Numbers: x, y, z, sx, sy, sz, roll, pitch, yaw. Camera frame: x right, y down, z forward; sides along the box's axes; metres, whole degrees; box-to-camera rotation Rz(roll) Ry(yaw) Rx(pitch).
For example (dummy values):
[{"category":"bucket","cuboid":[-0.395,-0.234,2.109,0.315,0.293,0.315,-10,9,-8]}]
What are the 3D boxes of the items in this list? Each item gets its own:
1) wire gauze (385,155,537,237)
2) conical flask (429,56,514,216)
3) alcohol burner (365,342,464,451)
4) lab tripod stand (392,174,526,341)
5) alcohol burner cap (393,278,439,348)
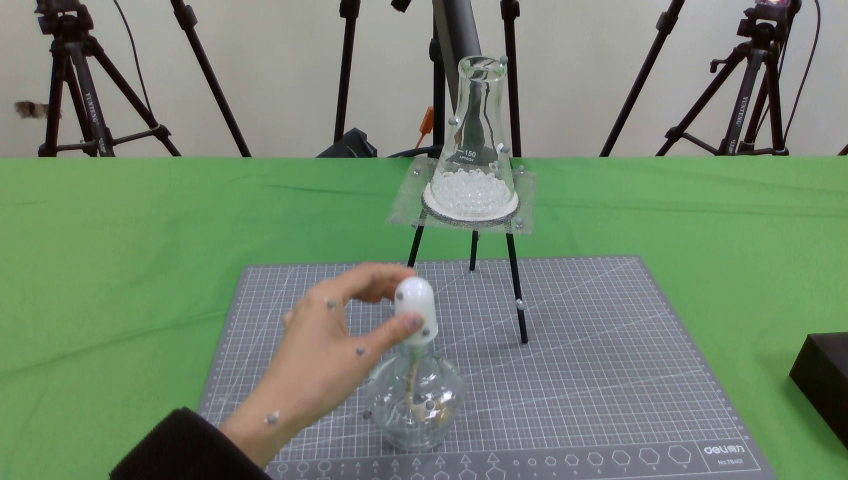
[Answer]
[{"category":"wire gauze","cuboid":[0.038,-0.040,0.540,0.121,0.011,0.124,7,37,8]},{"category":"conical flask","cuboid":[0.043,-0.087,0.503,0.075,0.123,0.074,2,35,-1]},{"category":"alcohol burner","cuboid":[-0.007,0.103,0.462,0.078,0.120,0.077,1,32,0]},{"category":"lab tripod stand","cuboid":[0.043,0.016,0.576,0.148,0.132,0.147,3,34,-1]},{"category":"alcohol burner cap","cuboid":[-0.006,0.049,0.427,0.034,0.048,0.033,-2,32,2]}]
